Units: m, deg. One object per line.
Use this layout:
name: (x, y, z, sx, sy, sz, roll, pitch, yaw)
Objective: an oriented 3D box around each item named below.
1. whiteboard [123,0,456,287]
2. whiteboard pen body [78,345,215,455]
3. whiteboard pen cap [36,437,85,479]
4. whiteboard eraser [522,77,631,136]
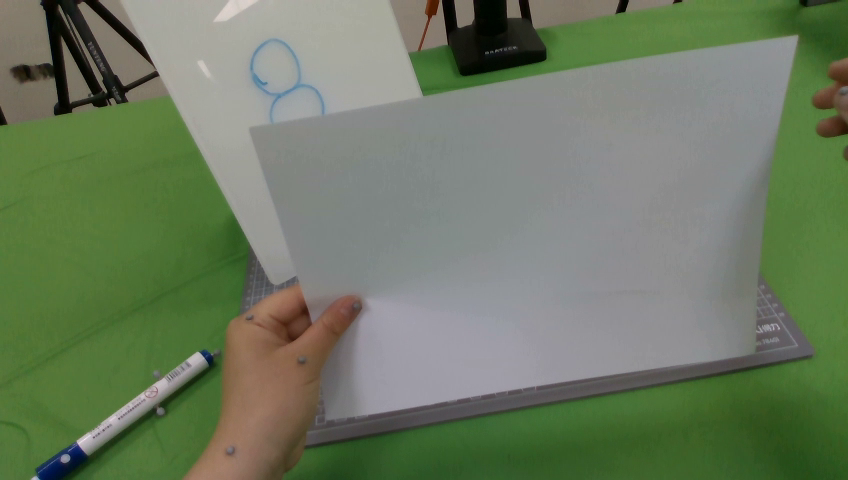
whiteboard: (-0.135, -0.151, 0.600, 0.217, 0.308, 0.142, -30, 26, -19)
whiteboard pen body: (-0.228, 0.131, 0.480, 0.017, 0.017, 0.140, 29, 54, 34)
whiteboard pen cap: (-0.269, 0.162, 0.452, 0.018, 0.018, 0.033, 28, 54, 34)
whiteboard eraser: (0.172, -0.150, 0.689, 0.113, 0.042, 0.055, -12, 45, -3)
